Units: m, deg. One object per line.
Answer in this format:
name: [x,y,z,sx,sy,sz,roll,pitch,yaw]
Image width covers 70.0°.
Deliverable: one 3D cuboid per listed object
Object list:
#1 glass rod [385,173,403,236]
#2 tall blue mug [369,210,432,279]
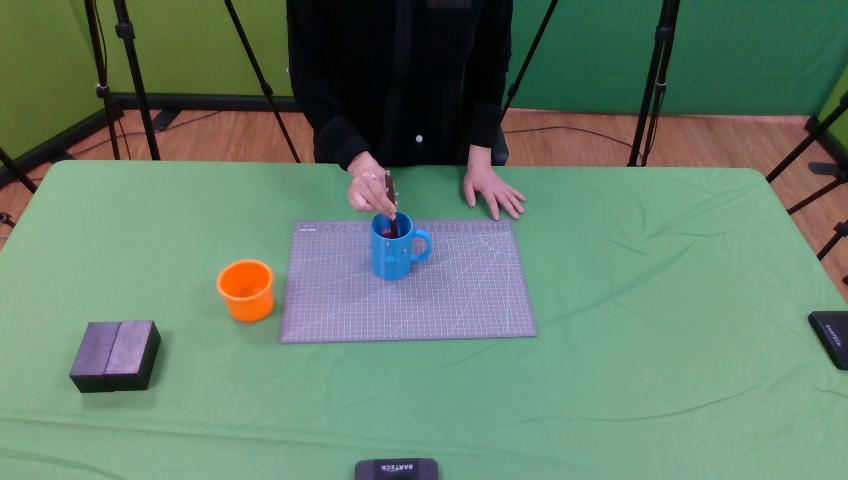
glass rod: [-0.050,-0.049,1.084,0.008,0.201,0.008,-4,51,6]
tall blue mug: [-0.048,0.005,1.125,0.107,0.108,0.077,-19,50,-21]
